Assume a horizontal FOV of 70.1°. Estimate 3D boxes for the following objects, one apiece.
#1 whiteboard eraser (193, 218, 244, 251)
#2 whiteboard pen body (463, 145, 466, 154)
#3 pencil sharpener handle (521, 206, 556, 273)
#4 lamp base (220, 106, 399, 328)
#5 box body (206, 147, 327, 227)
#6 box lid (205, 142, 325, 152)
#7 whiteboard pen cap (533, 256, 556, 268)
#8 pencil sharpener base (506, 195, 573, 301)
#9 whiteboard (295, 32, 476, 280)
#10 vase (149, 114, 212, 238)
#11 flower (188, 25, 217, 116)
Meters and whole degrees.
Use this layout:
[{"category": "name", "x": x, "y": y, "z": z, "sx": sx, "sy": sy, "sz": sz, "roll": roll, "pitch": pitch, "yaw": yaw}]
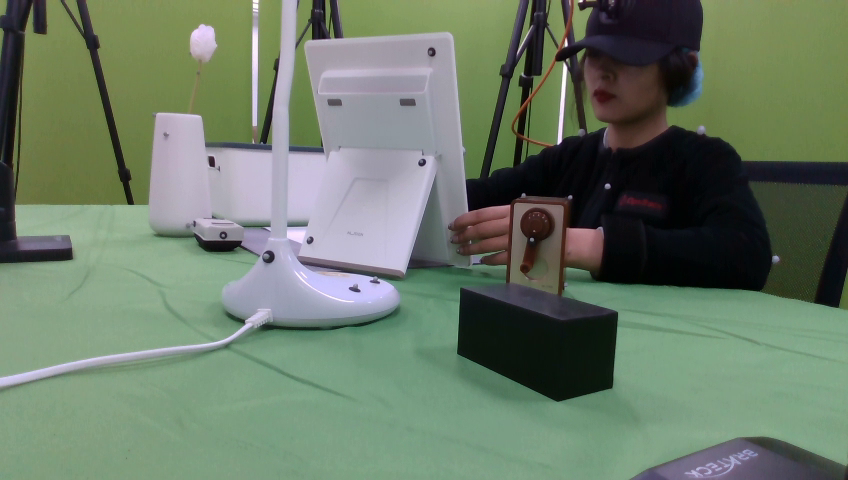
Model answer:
[{"category": "whiteboard eraser", "x": -0.307, "y": -0.009, "z": 0.899, "sx": 0.056, "sy": 0.042, "sz": 0.112, "roll": -3, "pitch": 9, "yaw": -29}, {"category": "whiteboard pen body", "x": 0.039, "y": -0.123, "z": 0.824, "sx": 0.017, "sy": 0.017, "sz": 0.141, "roll": 4, "pitch": 9, "yaw": 13}, {"category": "pencil sharpener handle", "x": 0.111, "y": 0.000, "z": 0.612, "sx": 0.036, "sy": 0.067, "sz": 0.031, "roll": 13, "pitch": 10, "yaw": 14}, {"category": "lamp base", "x": -0.101, "y": -0.023, "z": 0.531, "sx": 0.160, "sy": 0.180, "sz": 0.179, "roll": 4, "pitch": 10, "yaw": 10}, {"category": "box body", "x": -0.276, "y": -0.122, "z": 1.320, "sx": 0.366, "sy": 0.160, "sz": 0.253, "roll": -2, "pitch": 9, "yaw": -30}, {"category": "box lid", "x": -0.270, "y": -0.196, "z": 1.310, "sx": 0.373, "sy": 0.015, "sz": 0.262, "roll": -2, "pitch": 9, "yaw": -30}, {"category": "whiteboard pen cap", "x": 0.167, "y": 0.031, "z": 0.839, "sx": 0.018, "sy": 0.018, "sz": 0.033, "roll": -1, "pitch": -2, "yaw": -25}, {"category": "pencil sharpener base", "x": 0.127, "y": 0.007, "z": 0.662, "sx": 0.061, "sy": 0.107, "sz": 0.077, "roll": 5, "pitch": 8, "yaw": 15}, {"category": "whiteboard", "x": -0.076, "y": -0.083, "z": 0.747, "sx": 0.216, "sy": 0.305, "sz": 0.144, "roll": 7, "pitch": 28, "yaw": 29}, {"category": "vase", "x": -0.405, "y": -0.106, "z": 1.005, "sx": 0.098, "sy": 0.200, "sz": 0.098, "roll": 2, "pitch": 6, "yaw": 0}, {"category": "flower", "x": -0.394, "y": -0.189, "z": 1.011, "sx": 0.044, "sy": 0.361, "sz": 0.038, "roll": -1, "pitch": -13, "yaw": 27}]
